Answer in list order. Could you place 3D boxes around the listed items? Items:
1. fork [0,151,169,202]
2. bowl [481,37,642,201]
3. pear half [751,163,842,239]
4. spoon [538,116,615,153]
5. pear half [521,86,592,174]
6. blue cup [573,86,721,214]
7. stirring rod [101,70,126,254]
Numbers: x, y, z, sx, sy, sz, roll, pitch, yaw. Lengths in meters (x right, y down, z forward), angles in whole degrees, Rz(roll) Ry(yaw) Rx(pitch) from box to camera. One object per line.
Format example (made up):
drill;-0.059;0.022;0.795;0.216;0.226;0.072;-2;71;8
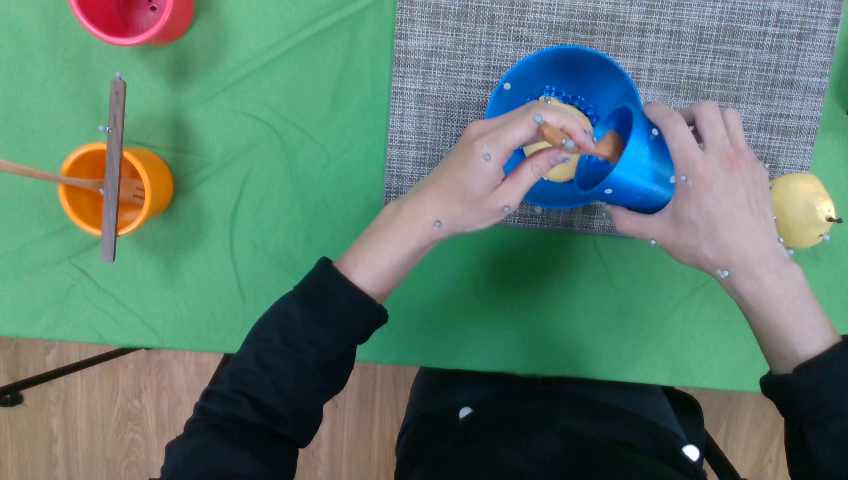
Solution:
fork;-0.348;-0.068;0.577;0.209;0.018;0.028;13;117;-47
bowl;0.129;-0.118;0.598;0.151;0.076;0.152;0;103;0
pear half;0.367;-0.035;0.602;0.056;0.109;0.076;-13;98;4
spoon;0.127;-0.076;0.464;0.021;0.194;0.041;-21;82;35
pear half;0.132;-0.109;0.593;0.070;0.031;0.088;-22;97;0
blue cup;0.197;-0.067;0.527;0.100;0.092;0.093;21;102;-12
stirring rod;-0.295;-0.071;0.574;0.014;0.006;0.176;9;103;-5
